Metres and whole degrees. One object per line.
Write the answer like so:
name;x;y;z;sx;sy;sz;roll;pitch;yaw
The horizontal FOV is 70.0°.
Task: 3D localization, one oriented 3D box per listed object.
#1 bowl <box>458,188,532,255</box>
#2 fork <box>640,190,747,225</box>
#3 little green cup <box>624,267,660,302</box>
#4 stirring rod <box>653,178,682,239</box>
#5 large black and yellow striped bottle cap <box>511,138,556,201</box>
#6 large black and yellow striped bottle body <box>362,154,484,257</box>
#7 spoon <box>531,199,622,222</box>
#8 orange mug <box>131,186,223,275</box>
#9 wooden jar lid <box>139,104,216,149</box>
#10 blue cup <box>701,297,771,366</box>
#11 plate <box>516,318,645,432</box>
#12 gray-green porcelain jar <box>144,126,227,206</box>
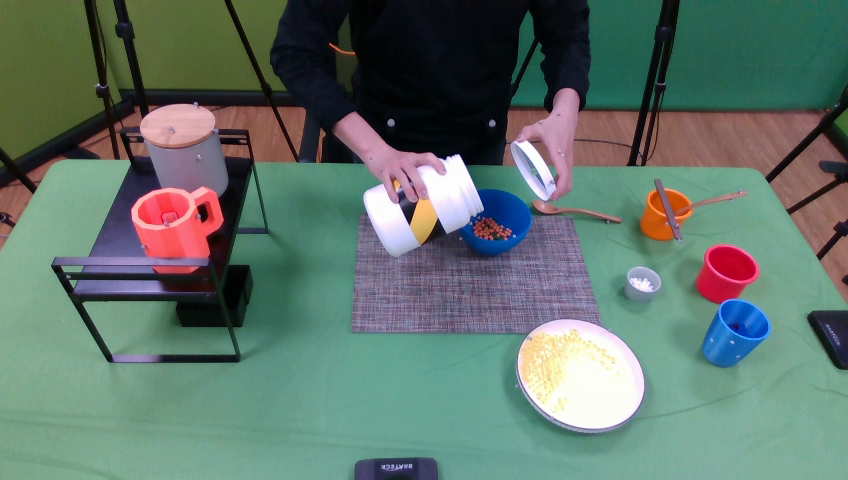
bowl;0.130;-0.025;1.186;0.151;0.077;0.150;2;46;-2
fork;0.533;-0.065;1.211;0.207;0.019;0.028;-22;28;38
little green cup;0.406;0.084;1.135;0.061;0.039;0.061;3;46;-3
stirring rod;0.481;-0.065;1.204;0.014;0.006;0.175;2;46;-1
large black and yellow striped bottle cap;0.184;-0.119;1.023;0.019;0.116;0.114;-31;52;-1
large black and yellow striped bottle body;-0.001;-0.063;1.057;0.184;0.131;0.130;-24;49;3
spoon;0.322;-0.060;1.279;0.194;0.022;0.041;9;33;5
orange mug;-0.354;-0.023;0.887;0.083;0.101;0.126;31;56;24
wooden jar lid;-0.372;-0.169;0.920;0.108;0.021;0.107;4;44;-4
blue cup;0.519;0.162;1.025;0.093;0.101;0.092;3;45;-3
plate;0.253;0.221;0.993;0.209;0.038;0.208;2;46;-2
gray-green porcelain jar;-0.375;-0.126;0.967;0.106;0.127;0.105;2;46;-2
